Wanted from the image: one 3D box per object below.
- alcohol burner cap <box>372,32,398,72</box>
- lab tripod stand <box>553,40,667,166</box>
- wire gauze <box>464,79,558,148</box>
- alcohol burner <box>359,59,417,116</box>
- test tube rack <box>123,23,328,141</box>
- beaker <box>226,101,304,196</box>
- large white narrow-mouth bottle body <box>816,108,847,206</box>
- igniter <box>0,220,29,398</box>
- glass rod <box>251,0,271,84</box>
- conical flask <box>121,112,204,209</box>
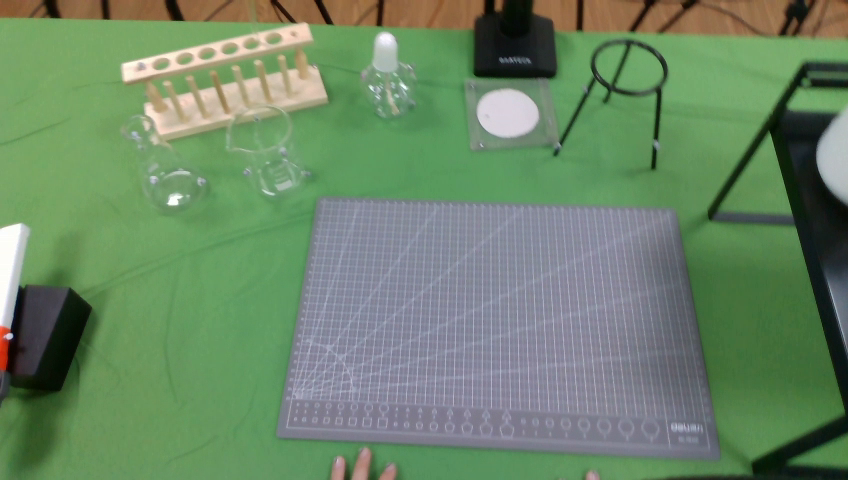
[{"bbox_3d":[-0.049,-0.244,0.775,0.034,0.048,0.033,5,59,-8],"label":"alcohol burner cap"},{"bbox_3d":[0.243,-0.169,0.760,0.148,0.132,0.147,1,59,-1],"label":"lab tripod stand"},{"bbox_3d":[0.119,-0.179,0.839,0.121,0.011,0.124,-1,59,-2],"label":"wire gauze"},{"bbox_3d":[-0.049,-0.223,0.805,0.078,0.120,0.077,1,57,0],"label":"alcohol burner"},{"bbox_3d":[-0.261,-0.212,0.815,0.243,0.086,0.066,-15,61,-9],"label":"test tube rack"},{"bbox_3d":[-0.193,-0.107,0.746,0.084,0.101,0.073,-36,65,-18],"label":"beaker"},{"bbox_3d":[0.409,-0.109,0.482,0.102,0.196,0.101,0,58,1],"label":"large white narrow-mouth bottle body"},{"bbox_3d":[-0.441,0.100,0.613,0.057,0.025,0.274,-14,59,5],"label":"igniter"},{"bbox_3d":[-0.212,-0.274,0.774,0.008,0.201,0.008,2,58,-3],"label":"glass rod"},{"bbox_3d":[-0.319,-0.099,0.727,0.075,0.123,0.074,0,59,1],"label":"conical flask"}]
